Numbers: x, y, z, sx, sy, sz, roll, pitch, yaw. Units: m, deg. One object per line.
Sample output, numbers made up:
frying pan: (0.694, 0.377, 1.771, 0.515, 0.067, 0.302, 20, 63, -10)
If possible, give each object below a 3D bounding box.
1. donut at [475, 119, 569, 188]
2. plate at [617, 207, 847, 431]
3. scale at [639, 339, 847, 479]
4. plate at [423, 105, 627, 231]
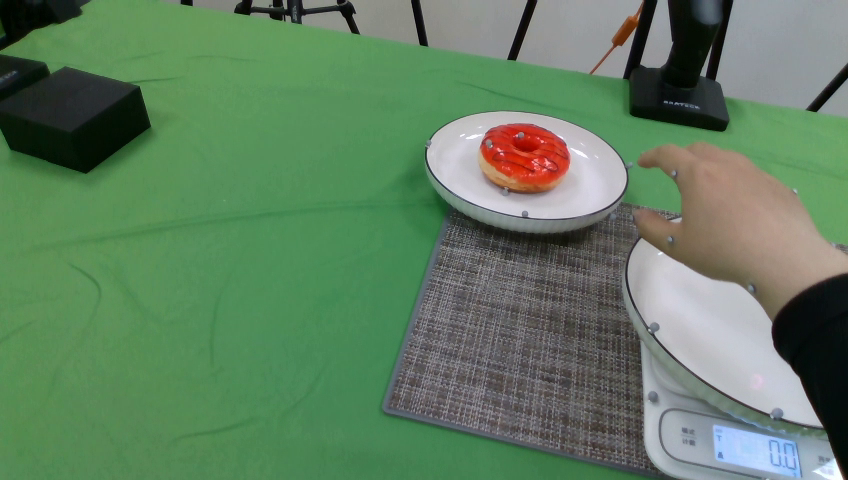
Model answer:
donut: (0.102, -0.090, 0.632, 0.099, 0.048, 0.098, 4, 41, -3)
plate: (0.249, 0.055, 0.462, 0.208, 0.039, 0.205, 3, 43, -3)
scale: (0.242, 0.094, 0.467, 0.148, 0.032, 0.199, 11, 44, 7)
plate: (0.101, -0.074, 0.631, 0.209, 0.038, 0.207, 3, 41, -2)
